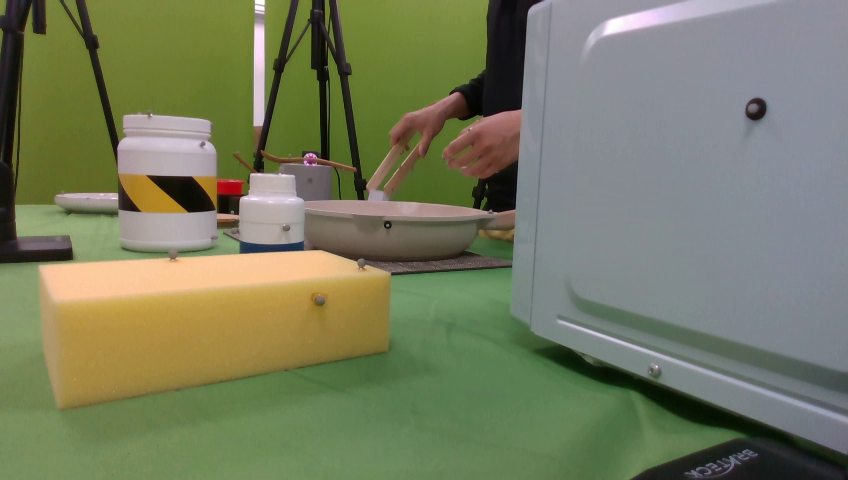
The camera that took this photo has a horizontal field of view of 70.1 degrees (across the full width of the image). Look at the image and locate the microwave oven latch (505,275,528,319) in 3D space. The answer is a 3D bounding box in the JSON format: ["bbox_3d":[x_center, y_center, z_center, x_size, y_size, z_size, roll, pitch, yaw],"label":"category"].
[{"bbox_3d":[0.100,0.041,0.471,0.079,0.029,0.030,-1,7,-28],"label":"microwave oven latch"}]

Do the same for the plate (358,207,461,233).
[{"bbox_3d":[-0.030,-0.041,1.213,0.208,0.039,0.207,3,6,0],"label":"plate"}]

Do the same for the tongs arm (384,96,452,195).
[{"bbox_3d":[-0.013,-0.215,1.313,0.050,0.026,0.385,-4,37,34],"label":"tongs arm"}]

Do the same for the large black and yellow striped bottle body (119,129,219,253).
[{"bbox_3d":[-0.367,-0.080,0.876,0.131,0.184,0.130,1,7,0],"label":"large black and yellow striped bottle body"}]

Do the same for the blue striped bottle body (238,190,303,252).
[{"bbox_3d":[-0.153,-0.007,0.606,0.063,0.120,0.063,2,8,0],"label":"blue striped bottle body"}]

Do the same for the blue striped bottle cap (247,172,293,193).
[{"bbox_3d":[-0.152,-0.057,0.598,0.044,0.020,0.044,3,7,0],"label":"blue striped bottle cap"}]

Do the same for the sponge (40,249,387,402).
[{"bbox_3d":[-0.142,0.047,0.419,0.208,0.061,0.117,-3,8,-36],"label":"sponge"}]

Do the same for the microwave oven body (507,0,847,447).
[{"bbox_3d":[0.331,-0.042,0.425,0.444,0.260,0.324,-2,8,-31],"label":"microwave oven body"}]

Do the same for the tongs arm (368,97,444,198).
[{"bbox_3d":[-0.035,-0.213,1.326,0.028,0.028,0.388,-10,33,33],"label":"tongs arm"}]

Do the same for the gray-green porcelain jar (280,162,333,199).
[{"bbox_3d":[-0.238,-0.092,1.221,0.106,0.126,0.106,2,7,0],"label":"gray-green porcelain jar"}]

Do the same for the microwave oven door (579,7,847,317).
[{"bbox_3d":[0.294,-0.067,0.570,0.358,0.243,0.039,-3,9,-31],"label":"microwave oven door"}]

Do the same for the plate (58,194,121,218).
[{"bbox_3d":[-0.671,-0.074,1.310,0.209,0.038,0.209,2,8,0],"label":"plate"}]

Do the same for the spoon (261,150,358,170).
[{"bbox_3d":[-0.229,-0.161,1.222,0.194,0.021,0.041,3,3,-16],"label":"spoon"}]

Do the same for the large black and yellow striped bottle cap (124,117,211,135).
[{"bbox_3d":[-0.366,-0.163,0.866,0.115,0.019,0.115,3,7,0],"label":"large black and yellow striped bottle cap"}]

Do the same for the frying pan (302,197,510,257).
[{"bbox_3d":[0.050,-0.035,0.915,0.487,0.102,0.307,-5,7,10],"label":"frying pan"}]

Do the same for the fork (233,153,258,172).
[{"bbox_3d":[-0.396,-0.144,1.486,0.028,0.018,0.208,20,-25,45],"label":"fork"}]

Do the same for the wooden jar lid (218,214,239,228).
[{"bbox_3d":[-0.404,-0.037,1.169,0.108,0.020,0.108,3,7,0],"label":"wooden jar lid"}]
